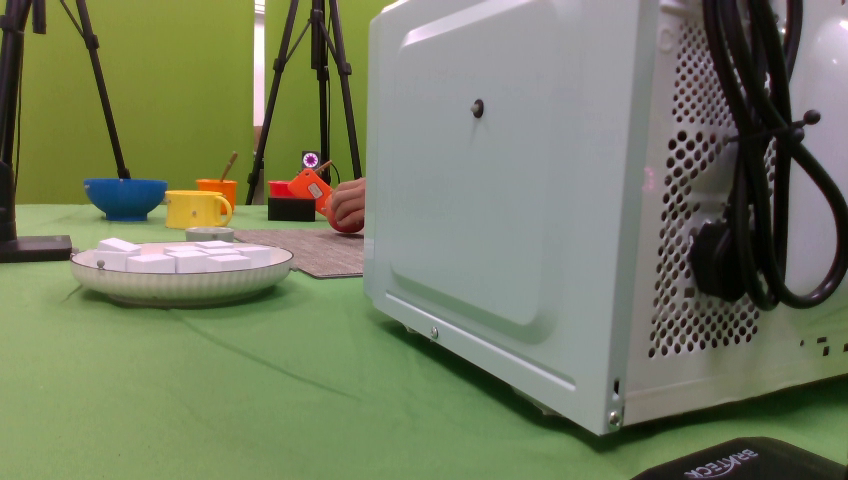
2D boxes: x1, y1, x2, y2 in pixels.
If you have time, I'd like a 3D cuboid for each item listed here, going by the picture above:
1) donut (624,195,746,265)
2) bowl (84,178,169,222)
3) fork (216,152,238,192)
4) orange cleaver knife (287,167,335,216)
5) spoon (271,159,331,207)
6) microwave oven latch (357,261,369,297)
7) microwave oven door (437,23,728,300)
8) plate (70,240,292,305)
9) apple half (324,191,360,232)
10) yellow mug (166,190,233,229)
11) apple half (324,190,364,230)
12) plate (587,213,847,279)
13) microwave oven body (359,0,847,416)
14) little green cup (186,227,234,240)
[{"bbox_3d":[0.221,-0.007,0.518,0.099,0.048,0.099,20,0,0],"label":"donut"},{"bbox_3d":[-0.584,-0.078,1.194,0.151,0.077,0.151,3,8,0],"label":"bowl"},{"bbox_3d":[-0.455,-0.132,1.366,0.028,0.018,0.207,-2,-35,-37],"label":"fork"},{"bbox_3d":[-0.209,-0.089,1.383,0.212,0.077,0.012,31,3,-15],"label":"orange cleaver knife"},{"bbox_3d":[-0.307,-0.142,1.513,0.193,0.021,0.041,-42,2,8],"label":"spoon"},{"bbox_3d":[-0.019,0.033,0.531,0.079,0.029,0.030,-1,7,-28],"label":"microwave oven latch"},{"bbox_3d":[0.181,-0.072,0.621,0.358,0.243,0.039,-2,8,-29],"label":"microwave oven door"},{"bbox_3d":[-0.241,0.031,0.618,0.208,0.039,0.207,2,8,0],"label":"plate"},{"bbox_3d":[-0.134,-0.051,1.083,0.081,0.074,0.053,3,12,-27],"label":"apple half"},{"bbox_3d":[-0.415,-0.057,1.132,0.130,0.064,0.100,6,8,16],"label":"yellow mug"},{"bbox_3d":[-0.152,-0.057,1.117,0.082,0.081,0.032,-2,13,-26],"label":"apple half"},{"bbox_3d":[0.244,0.002,0.512,0.209,0.038,0.209,1,7,0],"label":"plate"},{"bbox_3d":[0.211,-0.047,0.474,0.444,0.260,0.324,-1,7,-28],"label":"microwave oven body"},{"bbox_3d":[-0.284,0.005,0.805,0.061,0.038,0.061,2,8,0],"label":"little green cup"}]
